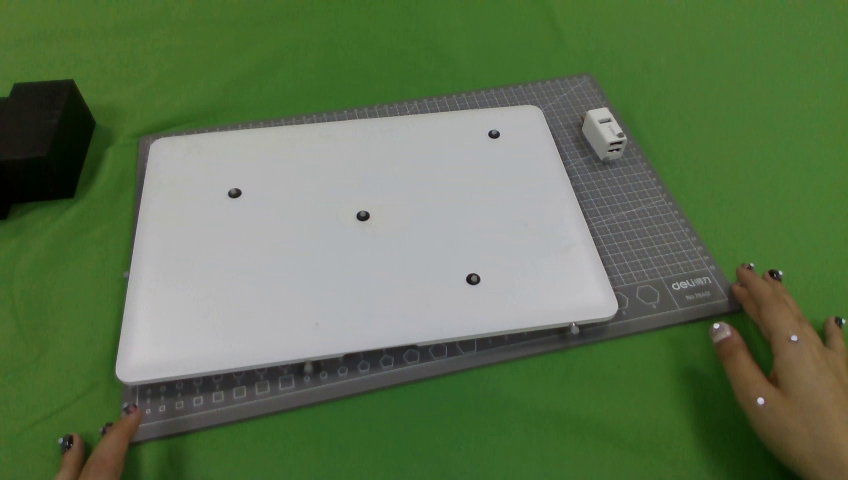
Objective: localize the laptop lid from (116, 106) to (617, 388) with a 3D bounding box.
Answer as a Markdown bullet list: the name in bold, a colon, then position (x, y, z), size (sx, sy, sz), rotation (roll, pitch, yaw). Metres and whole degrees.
- **laptop lid**: position (-0.049, -0.014, 0.483), size (0.357, 0.013, 0.239), rotation (-5, 54, -5)

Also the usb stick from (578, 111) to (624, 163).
- **usb stick**: position (0.162, -0.100, 0.563), size (0.021, 0.027, 0.058), rotation (-12, 50, -9)

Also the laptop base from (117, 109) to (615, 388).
- **laptop base**: position (-0.049, -0.009, 0.494), size (0.355, 0.023, 0.233), rotation (-7, 56, -7)
